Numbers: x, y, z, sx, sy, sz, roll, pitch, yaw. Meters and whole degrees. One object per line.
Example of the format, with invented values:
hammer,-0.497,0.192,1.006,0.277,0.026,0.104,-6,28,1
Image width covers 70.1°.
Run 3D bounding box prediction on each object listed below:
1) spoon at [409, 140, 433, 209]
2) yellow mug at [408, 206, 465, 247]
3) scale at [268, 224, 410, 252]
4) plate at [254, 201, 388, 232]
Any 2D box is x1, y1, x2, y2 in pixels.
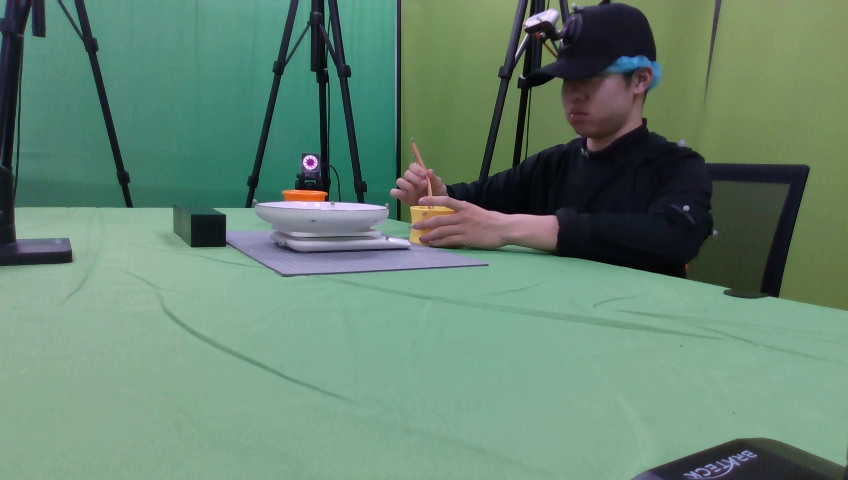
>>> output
spoon,0.004,-0.103,1.117,0.021,0.193,0.042,-15,-20,3
yellow mug,0.027,-0.027,1.105,0.099,0.064,0.131,6,7,20
scale,-0.137,-0.006,0.979,0.202,0.031,0.148,-1,8,-30
plate,-0.161,-0.038,0.961,0.209,0.038,0.209,2,6,0
